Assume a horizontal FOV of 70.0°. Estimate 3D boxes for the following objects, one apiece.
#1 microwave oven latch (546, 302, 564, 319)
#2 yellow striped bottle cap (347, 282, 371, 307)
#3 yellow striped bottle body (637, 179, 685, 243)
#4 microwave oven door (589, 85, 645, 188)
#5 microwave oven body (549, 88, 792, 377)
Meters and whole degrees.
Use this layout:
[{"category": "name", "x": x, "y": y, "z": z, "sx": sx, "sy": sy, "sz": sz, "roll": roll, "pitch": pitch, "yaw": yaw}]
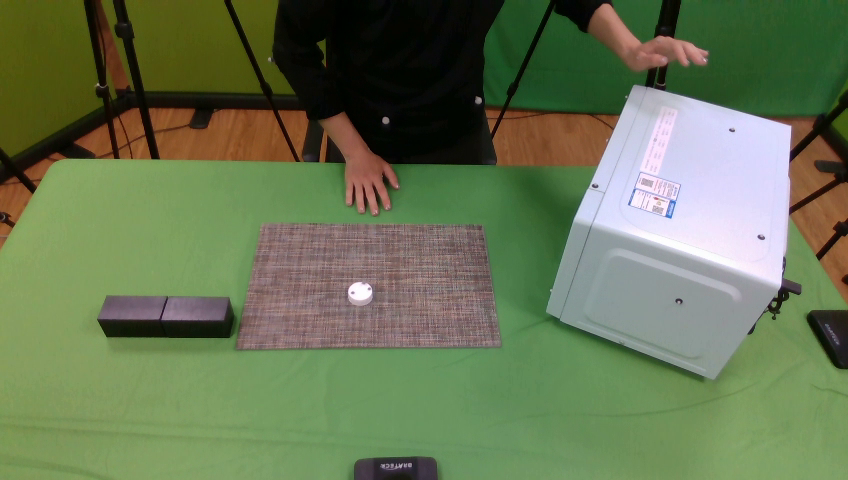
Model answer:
[{"category": "microwave oven latch", "x": 0.242, "y": 0.102, "z": 1.081, "sx": 0.030, "sy": 0.029, "sz": 0.079, "roll": 21, "pitch": 48, "yaw": 17}, {"category": "yellow striped bottle cap", "x": -0.117, "y": 0.098, "z": 1.093, "sx": 0.044, "sy": 0.019, "sz": 0.044, "roll": 3, "pitch": 46, "yaw": -3}, {"category": "yellow striped bottle body", "x": 0.442, "y": -0.057, "z": 1.126, "sx": 0.063, "sy": 0.121, "sz": 0.062, "roll": 1, "pitch": 47, "yaw": -1}, {"category": "microwave oven door", "x": 0.341, "y": -0.107, "z": 1.149, "sx": 0.039, "sy": 0.245, "sz": 0.354, "roll": 20, "pitch": 48, "yaw": 15}, {"category": "microwave oven body", "x": 0.456, "y": -0.028, "z": 1.088, "sx": 0.325, "sy": 0.261, "sz": 0.440, "roll": 20, "pitch": 47, "yaw": 16}]
